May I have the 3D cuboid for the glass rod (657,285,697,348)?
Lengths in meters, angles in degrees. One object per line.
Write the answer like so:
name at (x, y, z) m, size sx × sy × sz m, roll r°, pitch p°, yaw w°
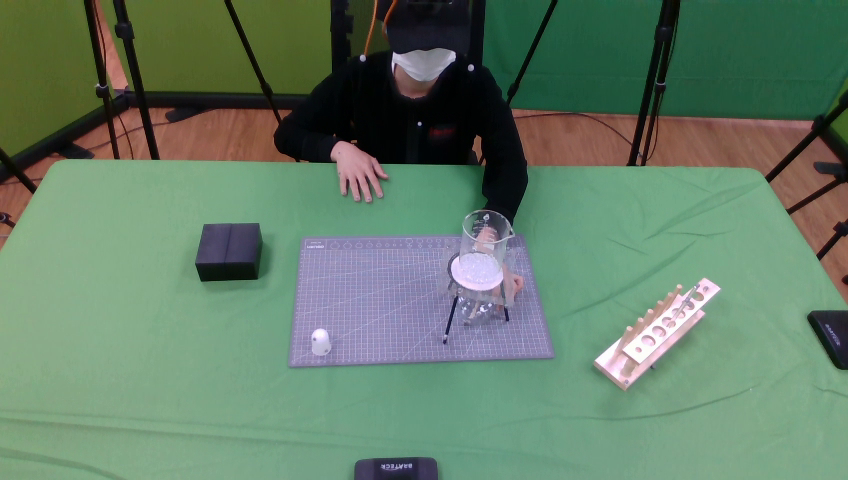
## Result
glass rod at (0.401, 0.128, 0.971) m, size 0.008 × 0.201 × 0.008 m, roll 0°, pitch 53°, yaw 1°

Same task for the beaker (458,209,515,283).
beaker at (0.094, 0.013, 0.952) m, size 0.084 × 0.101 × 0.073 m, roll 12°, pitch 46°, yaw 7°

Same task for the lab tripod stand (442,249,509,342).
lab tripod stand at (0.081, 0.091, 1.036) m, size 0.148 × 0.132 × 0.147 m, roll 3°, pitch 44°, yaw -3°

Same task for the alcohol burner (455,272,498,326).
alcohol burner at (0.091, 0.095, 1.047) m, size 0.078 × 0.119 × 0.077 m, roll 3°, pitch 48°, yaw -3°

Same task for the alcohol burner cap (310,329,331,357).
alcohol burner cap at (-0.173, 0.168, 1.005) m, size 0.034 × 0.048 × 0.033 m, roll 2°, pitch 46°, yaw -2°

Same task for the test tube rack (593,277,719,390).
test tube rack at (0.401, 0.148, 1.043) m, size 0.242 × 0.085 × 0.066 m, roll -30°, pitch 55°, yaw -29°

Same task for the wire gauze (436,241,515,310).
wire gauze at (0.086, 0.052, 0.982) m, size 0.125 × 0.011 × 0.121 m, roll 11°, pitch 47°, yaw 2°
